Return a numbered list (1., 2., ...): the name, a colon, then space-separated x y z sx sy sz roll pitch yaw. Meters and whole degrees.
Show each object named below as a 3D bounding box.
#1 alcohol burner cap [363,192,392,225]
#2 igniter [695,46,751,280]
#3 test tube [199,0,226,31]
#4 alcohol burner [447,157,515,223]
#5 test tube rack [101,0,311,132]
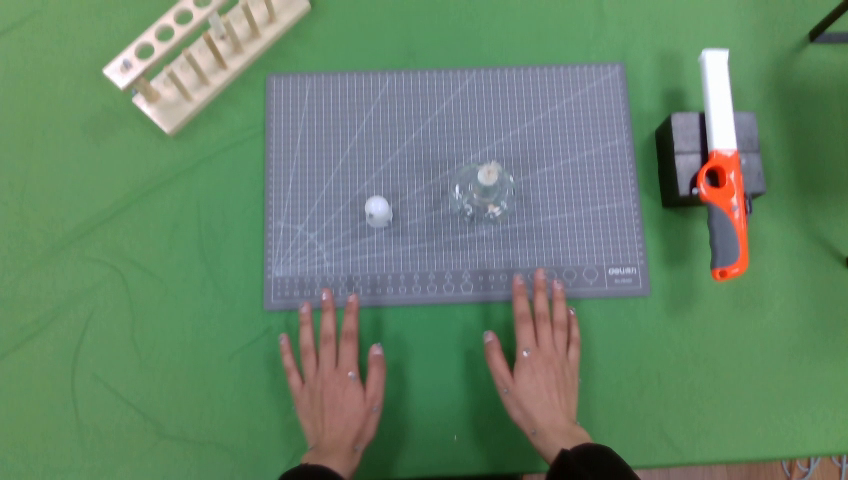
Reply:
1. alcohol burner cap: -0.055 -0.039 0.702 0.034 0.048 0.033 0 78 1
2. igniter: 0.333 -0.091 0.682 0.057 0.025 0.275 2 77 3
3. test tube: -0.252 -0.284 0.679 0.017 0.151 0.017 0 73 0
4. alcohol burner: 0.066 -0.061 0.673 0.078 0.119 0.077 1 76 -2
5. test tube rack: -0.251 -0.248 0.722 0.066 0.085 0.242 42 81 8
